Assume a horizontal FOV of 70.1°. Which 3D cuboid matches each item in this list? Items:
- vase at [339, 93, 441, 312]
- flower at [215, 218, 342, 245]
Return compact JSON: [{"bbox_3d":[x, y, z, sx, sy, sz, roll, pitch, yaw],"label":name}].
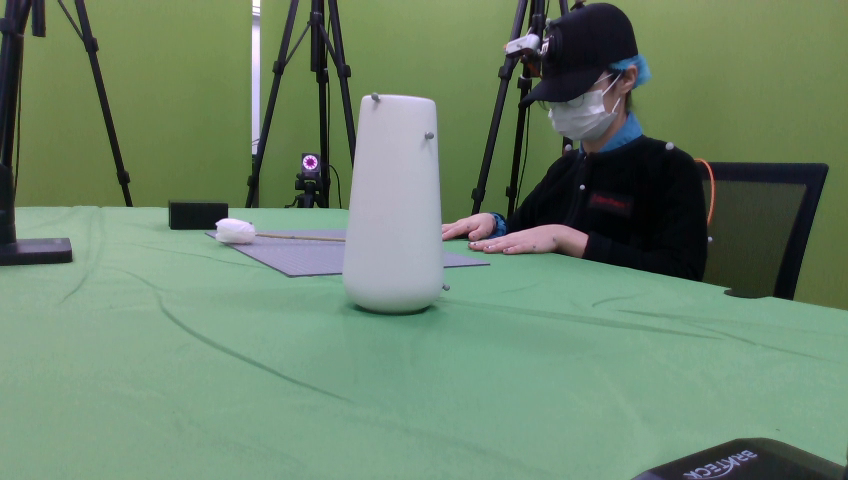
[{"bbox_3d":[-0.032,-0.035,0.577,0.098,0.200,0.098,0,7,0],"label":"vase"},{"bbox_3d":[-0.152,-0.001,0.993,0.363,0.038,0.044,5,-31,-17],"label":"flower"}]
